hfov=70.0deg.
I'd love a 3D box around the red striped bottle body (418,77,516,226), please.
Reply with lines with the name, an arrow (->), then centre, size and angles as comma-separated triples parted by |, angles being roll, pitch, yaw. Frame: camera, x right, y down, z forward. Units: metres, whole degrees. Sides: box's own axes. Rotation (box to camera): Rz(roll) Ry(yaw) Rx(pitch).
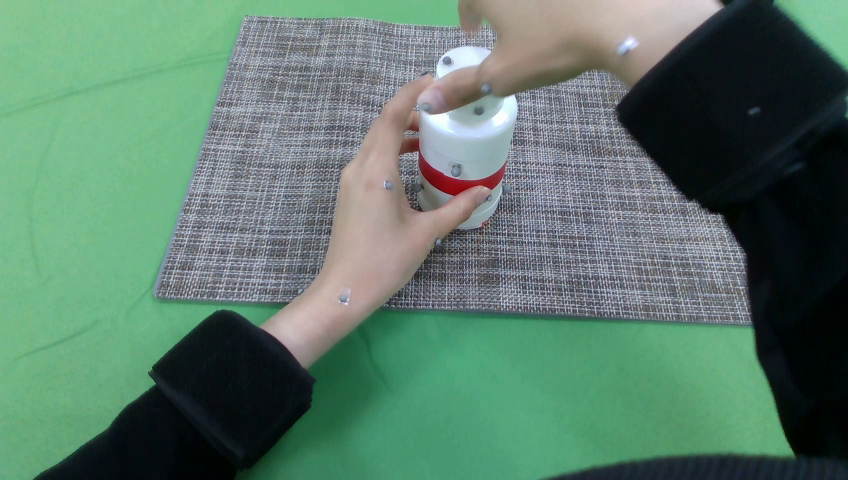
red striped bottle body -> 0.027, -0.067, 0.409 | 0.063, 0.120, 0.062 | 1, 56, -1

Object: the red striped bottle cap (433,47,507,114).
red striped bottle cap -> 0.028, -0.097, 0.364 | 0.044, 0.018, 0.044 | 2, 53, -3
